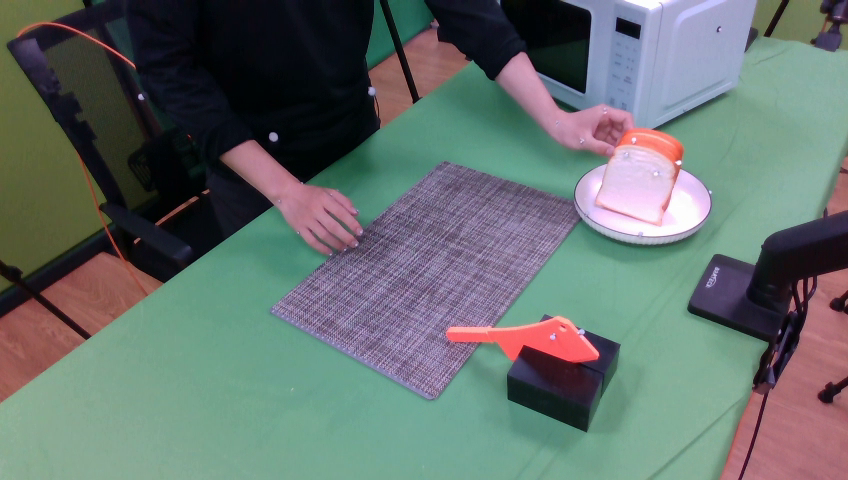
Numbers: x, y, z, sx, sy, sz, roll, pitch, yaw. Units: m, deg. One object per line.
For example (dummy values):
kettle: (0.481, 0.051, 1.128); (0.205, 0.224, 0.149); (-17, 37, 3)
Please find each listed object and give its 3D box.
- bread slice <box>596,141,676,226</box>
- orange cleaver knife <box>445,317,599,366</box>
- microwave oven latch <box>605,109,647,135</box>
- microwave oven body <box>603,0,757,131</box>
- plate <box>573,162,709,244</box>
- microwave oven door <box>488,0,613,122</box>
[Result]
bread slice: (0.325, -0.089, 0.924); (0.106, 0.135, 0.018); (20, 50, 22)
orange cleaver knife: (0.115, 0.129, 0.751); (0.210, 0.077, 0.012); (-11, 31, 44)
microwave oven latch: (0.379, -0.225, 1.139); (0.030, 0.029, 0.078); (-26, 43, -20)
microwave oven body: (0.396, -0.448, 1.248); (0.327, 0.261, 0.437); (-27, 44, -21)
plate: (0.347, -0.059, 0.978); (0.207, 0.039, 0.206); (-4, 41, 4)
microwave oven door: (0.251, -0.412, 1.219); (0.039, 0.245, 0.352); (-27, 44, -21)
